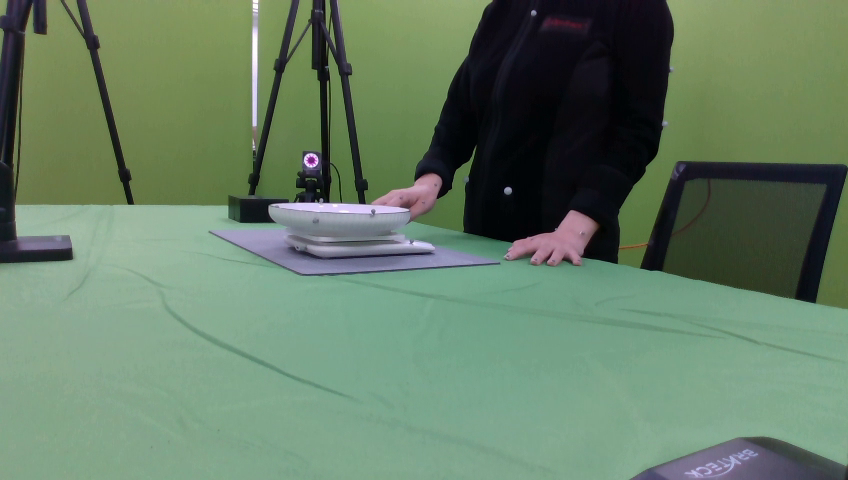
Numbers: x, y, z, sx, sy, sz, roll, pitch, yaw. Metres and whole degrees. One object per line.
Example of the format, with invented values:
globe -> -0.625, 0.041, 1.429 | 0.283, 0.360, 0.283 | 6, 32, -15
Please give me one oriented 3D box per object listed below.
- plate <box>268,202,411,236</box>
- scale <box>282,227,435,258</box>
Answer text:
plate -> -0.123, -0.032, 0.894 | 0.209, 0.038, 0.209 | 2, 7, 0
scale -> -0.098, 0.000, 0.915 | 0.202, 0.031, 0.148 | -2, 9, -34
